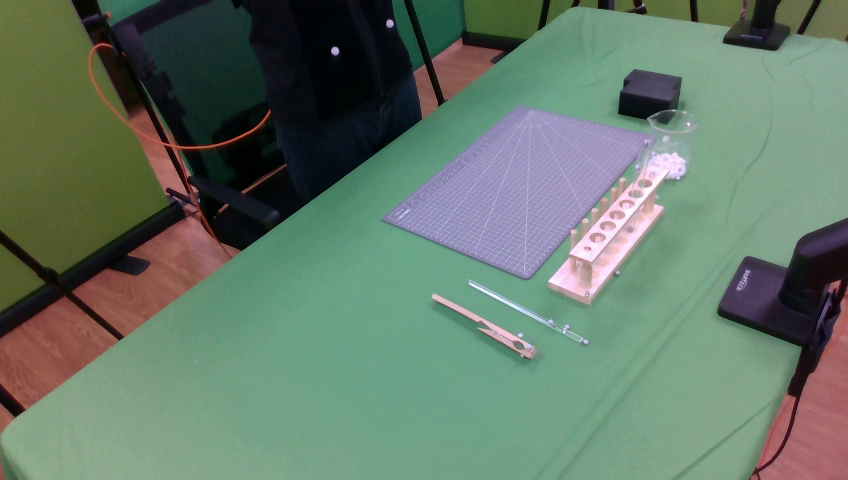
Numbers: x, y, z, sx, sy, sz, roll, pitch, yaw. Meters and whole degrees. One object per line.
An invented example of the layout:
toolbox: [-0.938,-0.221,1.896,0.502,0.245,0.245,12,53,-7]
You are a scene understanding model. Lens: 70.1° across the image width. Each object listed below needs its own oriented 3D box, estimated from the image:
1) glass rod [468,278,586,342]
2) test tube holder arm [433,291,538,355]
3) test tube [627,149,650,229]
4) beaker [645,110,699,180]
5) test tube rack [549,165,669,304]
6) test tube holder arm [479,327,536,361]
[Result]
glass rod: [0.140,0.096,0.853,0.198,0.008,0.008,27,53,35]
test tube holder arm: [0.081,0.112,0.832,0.177,0.015,0.013,29,82,36]
test tube: [0.311,-0.071,0.881,0.017,0.151,0.017,-5,47,5]
beaker: [0.417,-0.160,1.032,0.083,0.101,0.074,25,51,35]
test tube rack: [0.279,-0.018,0.902,0.066,0.085,0.243,24,50,33]
test tube holder arm: [0.110,0.134,0.805,0.087,0.015,0.010,29,83,36]
